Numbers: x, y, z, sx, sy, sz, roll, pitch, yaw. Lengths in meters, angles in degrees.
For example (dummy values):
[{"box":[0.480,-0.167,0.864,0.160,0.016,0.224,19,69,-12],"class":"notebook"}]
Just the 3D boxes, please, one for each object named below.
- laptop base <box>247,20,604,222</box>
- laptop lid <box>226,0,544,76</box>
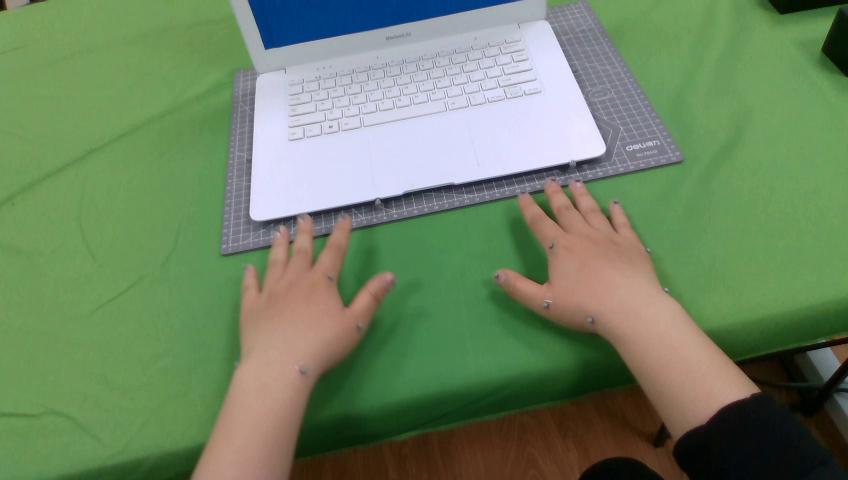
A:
[{"box":[-0.013,-0.135,0.655,0.354,0.023,0.233,-11,54,0],"class":"laptop base"},{"box":[-0.047,-0.310,0.647,0.357,0.244,0.013,-12,43,1],"class":"laptop lid"}]
